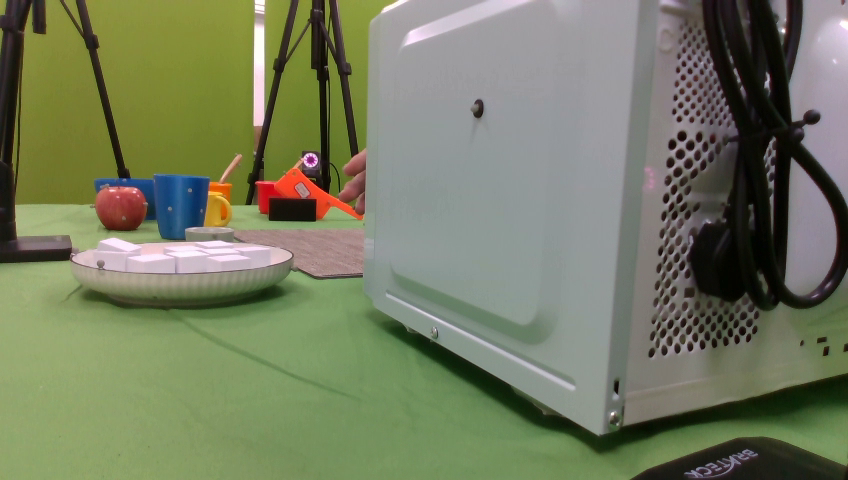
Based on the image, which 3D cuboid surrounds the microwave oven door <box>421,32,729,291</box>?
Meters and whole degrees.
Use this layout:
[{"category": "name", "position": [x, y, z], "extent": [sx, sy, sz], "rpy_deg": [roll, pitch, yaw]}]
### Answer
[{"category": "microwave oven door", "position": [0.173, -0.075, 0.639], "extent": [0.357, 0.243, 0.039], "rpy_deg": [-1, 8, -22]}]

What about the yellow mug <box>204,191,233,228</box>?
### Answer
[{"category": "yellow mug", "position": [-0.415, -0.057, 1.131], "extent": [0.130, 0.064, 0.100], "rpy_deg": [6, 8, 16]}]

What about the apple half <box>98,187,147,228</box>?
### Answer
[{"category": "apple half", "position": [-0.534, -0.059, 1.071], "extent": [0.082, 0.081, 0.032], "rpy_deg": [-1, 11, -25]}]

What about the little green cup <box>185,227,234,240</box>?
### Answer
[{"category": "little green cup", "position": [-0.285, 0.005, 0.805], "extent": [0.061, 0.038, 0.061], "rpy_deg": [2, 8, 0]}]

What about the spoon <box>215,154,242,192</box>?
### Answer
[{"category": "spoon", "position": [-0.438, -0.124, 1.318], "extent": [0.041, 0.193, 0.022], "rpy_deg": [6, -36, 15]}]

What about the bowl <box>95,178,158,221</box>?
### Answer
[{"category": "bowl", "position": [-0.576, -0.081, 1.217], "extent": [0.151, 0.077, 0.151], "rpy_deg": [3, 7, 0]}]

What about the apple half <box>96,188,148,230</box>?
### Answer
[{"category": "apple half", "position": [-0.517, -0.052, 1.036], "extent": [0.081, 0.074, 0.053], "rpy_deg": [2, 10, -26]}]

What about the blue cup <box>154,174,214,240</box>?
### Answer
[{"category": "blue cup", "position": [-0.391, -0.053, 0.978], "extent": [0.093, 0.100, 0.092], "rpy_deg": [3, 6, 0]}]

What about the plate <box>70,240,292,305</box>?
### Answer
[{"category": "plate", "position": [-0.242, 0.031, 0.618], "extent": [0.208, 0.039, 0.207], "rpy_deg": [2, 8, 0]}]

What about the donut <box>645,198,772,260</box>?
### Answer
[{"category": "donut", "position": [0.239, -0.008, 0.513], "extent": [0.099, 0.048, 0.099], "rpy_deg": [10, 1, 0]}]

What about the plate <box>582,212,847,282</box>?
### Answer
[{"category": "plate", "position": [0.239, 0.003, 0.510], "extent": [0.209, 0.038, 0.209], "rpy_deg": [2, 8, 0]}]

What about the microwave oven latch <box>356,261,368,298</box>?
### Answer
[{"category": "microwave oven latch", "position": [-0.019, 0.033, 0.529], "extent": [0.079, 0.029, 0.030], "rpy_deg": [0, 7, -24]}]

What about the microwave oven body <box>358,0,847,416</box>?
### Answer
[{"category": "microwave oven body", "position": [0.211, -0.047, 0.474], "extent": [0.444, 0.260, 0.324], "rpy_deg": [-1, 7, -28]}]

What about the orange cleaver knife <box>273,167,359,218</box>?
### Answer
[{"category": "orange cleaver knife", "position": [-0.238, -0.091, 1.381], "extent": [0.212, 0.077, 0.012], "rpy_deg": [31, 0, -19]}]

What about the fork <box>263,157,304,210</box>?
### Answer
[{"category": "fork", "position": [-0.345, -0.143, 1.505], "extent": [0.028, 0.019, 0.207], "rpy_deg": [-4, 46, 28]}]
